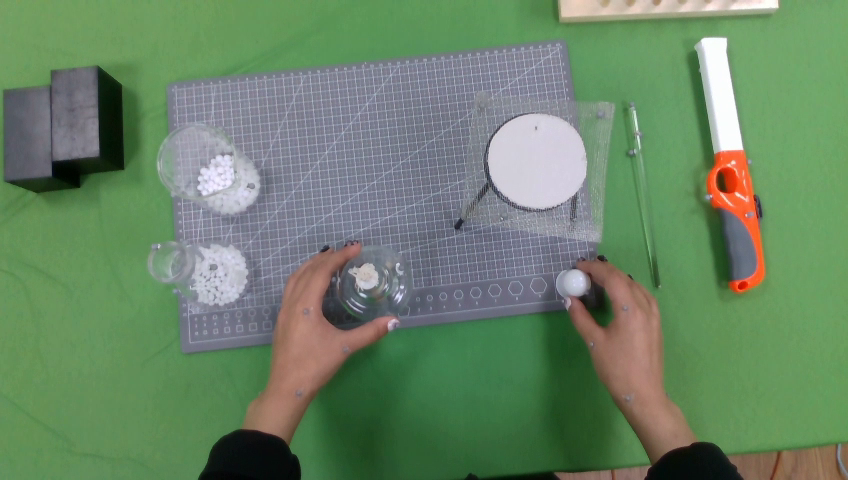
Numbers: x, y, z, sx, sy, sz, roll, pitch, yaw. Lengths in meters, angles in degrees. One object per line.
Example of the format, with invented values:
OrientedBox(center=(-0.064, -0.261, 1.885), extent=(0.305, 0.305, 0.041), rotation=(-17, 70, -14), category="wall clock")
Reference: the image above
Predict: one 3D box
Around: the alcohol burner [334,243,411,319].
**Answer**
OrientedBox(center=(-0.052, 0.039, 0.592), extent=(0.078, 0.119, 0.077), rotation=(0, 82, 3), category="alcohol burner")

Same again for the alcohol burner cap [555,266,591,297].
OrientedBox(center=(0.155, 0.041, 0.622), extent=(0.034, 0.048, 0.034), rotation=(0, 83, 0), category="alcohol burner cap")

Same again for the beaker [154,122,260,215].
OrientedBox(center=(-0.211, -0.066, 0.616), extent=(0.084, 0.100, 0.074), rotation=(30, 83, 4), category="beaker")

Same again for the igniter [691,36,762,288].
OrientedBox(center=(0.324, -0.086, 0.650), extent=(0.057, 0.025, 0.275), rotation=(-4, 82, -9), category="igniter")

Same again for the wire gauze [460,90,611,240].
OrientedBox(center=(0.098, -0.068, 0.527), extent=(0.125, 0.011, 0.121), rotation=(8, 83, 3), category="wire gauze")

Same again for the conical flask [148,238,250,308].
OrientedBox(center=(-0.223, 0.027, 0.592), extent=(0.075, 0.122, 0.075), rotation=(0, 82, 1), category="conical flask")

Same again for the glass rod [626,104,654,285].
OrientedBox(center=(0.234, -0.050, 0.656), extent=(0.008, 0.008, 0.199), rotation=(-5, 84, 0), category="glass rod")

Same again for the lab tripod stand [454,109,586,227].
OrientedBox(center=(0.096, -0.059, 0.593), extent=(0.148, 0.132, 0.148), rotation=(0, 83, 1), category="lab tripod stand")

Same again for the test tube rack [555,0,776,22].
OrientedBox(center=(0.269, -0.293, 0.650), extent=(0.242, 0.085, 0.066), rotation=(-3, 81, 1), category="test tube rack")
